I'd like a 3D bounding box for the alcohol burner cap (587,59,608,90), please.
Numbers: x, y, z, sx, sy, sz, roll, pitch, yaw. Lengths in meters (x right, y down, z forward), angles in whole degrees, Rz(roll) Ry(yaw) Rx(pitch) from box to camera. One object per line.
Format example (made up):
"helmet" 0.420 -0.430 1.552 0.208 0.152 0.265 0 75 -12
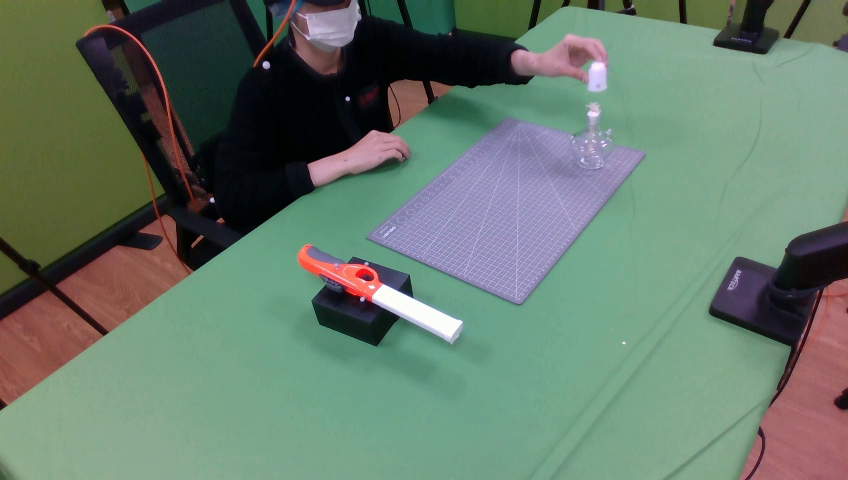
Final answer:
"alcohol burner cap" 0.289 -0.277 1.009 0.034 0.048 0.033 -8 34 6

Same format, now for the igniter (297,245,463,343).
"igniter" -0.070 0.068 0.827 0.274 0.025 0.057 23 50 25

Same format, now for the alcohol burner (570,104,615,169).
"alcohol burner" 0.299 -0.187 1.071 0.078 0.119 0.077 -6 41 6
